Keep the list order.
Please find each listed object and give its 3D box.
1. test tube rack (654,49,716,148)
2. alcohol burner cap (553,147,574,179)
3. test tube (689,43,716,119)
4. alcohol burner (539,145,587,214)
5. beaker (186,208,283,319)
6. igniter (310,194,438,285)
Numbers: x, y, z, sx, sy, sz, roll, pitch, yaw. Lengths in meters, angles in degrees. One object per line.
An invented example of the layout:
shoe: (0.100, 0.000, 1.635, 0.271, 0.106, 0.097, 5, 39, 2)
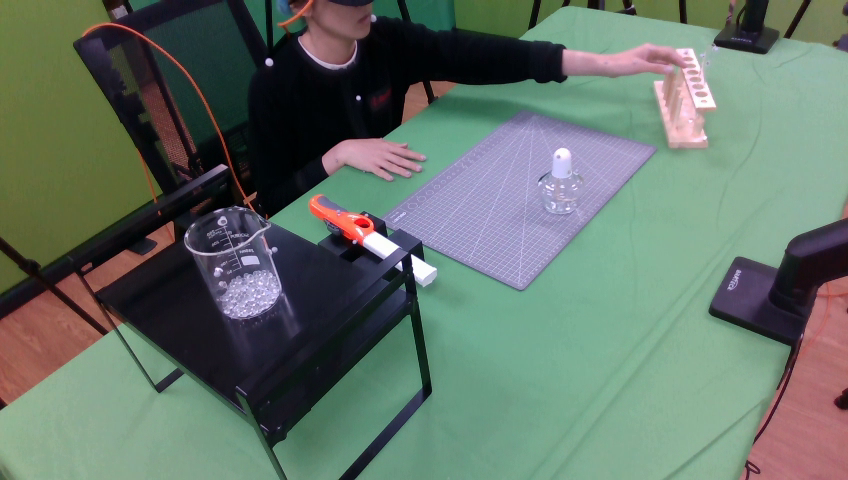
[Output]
test tube rack: (0.502, -0.280, 1.176, 0.066, 0.085, 0.241, 1, 41, 11)
alcohol burner cap: (0.224, -0.125, 0.965, 0.034, 0.048, 0.033, -5, 44, 5)
test tube: (0.509, -0.287, 1.107, 0.017, 0.151, 0.017, -3, 44, 3)
alcohol burner: (0.226, -0.102, 0.986, 0.078, 0.119, 0.077, -6, 41, 6)
beaker: (-0.192, 0.026, 0.637, 0.084, 0.101, 0.073, -13, 41, -7)
igniter: (-0.086, -0.007, 0.921, 0.274, 0.025, 0.057, 31, 51, 34)
